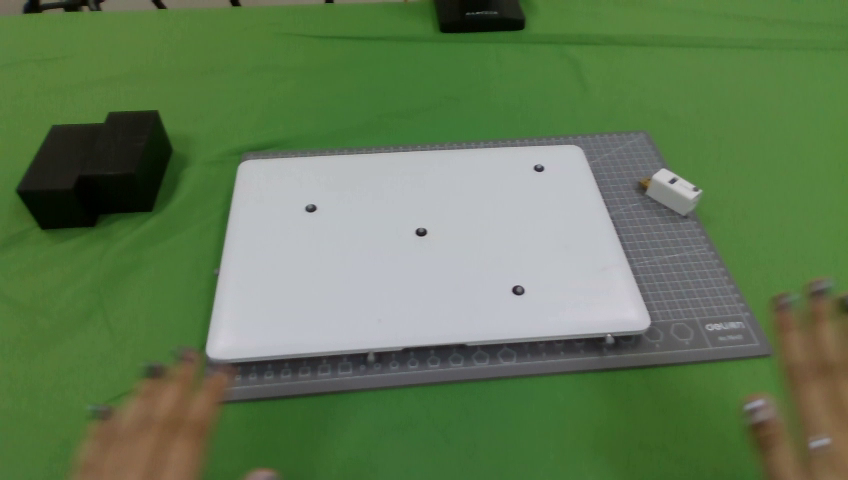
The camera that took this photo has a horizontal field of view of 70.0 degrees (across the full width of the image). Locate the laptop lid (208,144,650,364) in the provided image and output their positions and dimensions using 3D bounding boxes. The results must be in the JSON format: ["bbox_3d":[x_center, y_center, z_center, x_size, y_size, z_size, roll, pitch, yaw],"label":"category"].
[{"bbox_3d":[-0.001,-0.003,0.546,0.357,0.013,0.239,-2,49,-2],"label":"laptop lid"}]

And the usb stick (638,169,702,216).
[{"bbox_3d":[0.241,-0.050,0.599,0.021,0.027,0.058,-33,53,-27],"label":"usb stick"}]

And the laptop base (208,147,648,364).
[{"bbox_3d":[-0.001,0.003,0.556,0.355,0.023,0.233,-3,50,-4],"label":"laptop base"}]
